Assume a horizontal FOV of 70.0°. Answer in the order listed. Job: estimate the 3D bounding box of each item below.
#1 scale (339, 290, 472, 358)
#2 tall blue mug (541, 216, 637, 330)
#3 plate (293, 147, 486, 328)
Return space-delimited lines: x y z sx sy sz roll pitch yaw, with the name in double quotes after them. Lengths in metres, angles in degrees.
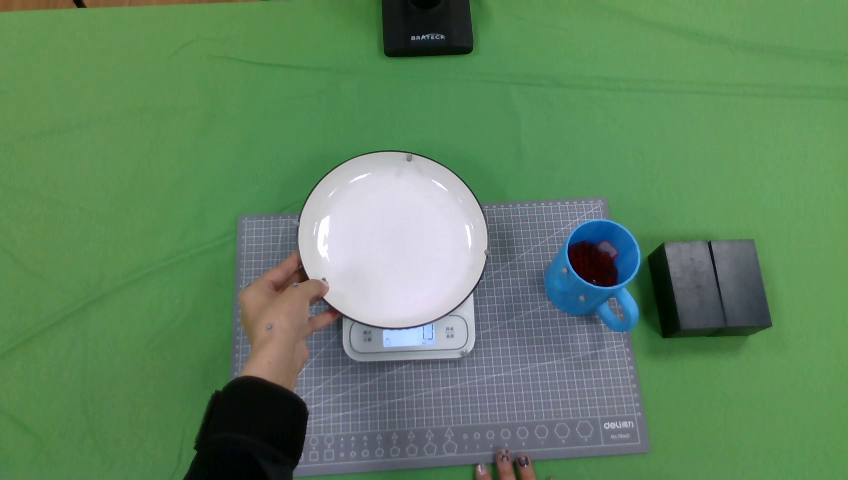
-0.023 0.032 0.696 0.149 0.032 0.199 -2 71 -2 "scale"
0.189 0.038 0.659 0.107 0.108 0.077 32 72 10 "tall blue mug"
-0.036 -0.002 0.666 0.209 0.038 0.207 3 70 -6 "plate"
